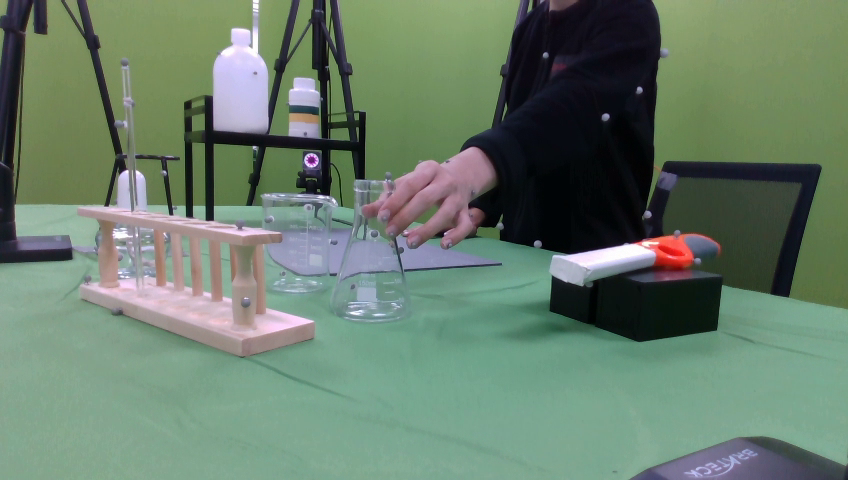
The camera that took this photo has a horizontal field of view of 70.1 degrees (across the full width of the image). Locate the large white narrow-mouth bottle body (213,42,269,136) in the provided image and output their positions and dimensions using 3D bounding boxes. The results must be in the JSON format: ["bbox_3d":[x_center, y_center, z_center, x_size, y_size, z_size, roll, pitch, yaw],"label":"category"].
[{"bbox_3d":[-0.352,-0.301,1.166,0.102,0.194,0.102,1,9,0],"label":"large white narrow-mouth bottle body"}]

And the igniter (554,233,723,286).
[{"bbox_3d":[0.214,0.015,0.570,0.278,0.025,0.057,-5,22,-44],"label":"igniter"}]

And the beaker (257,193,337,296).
[{"bbox_3d":[-0.130,0.004,0.628,0.084,0.100,0.074,5,8,15],"label":"beaker"}]

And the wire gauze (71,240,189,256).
[{"bbox_3d":[-0.399,0.013,0.820,0.126,0.011,0.121,-3,8,-37],"label":"wire gauze"}]

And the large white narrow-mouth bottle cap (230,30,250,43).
[{"bbox_3d":[-0.351,-0.386,1.152,0.038,0.024,0.037,1,8,0],"label":"large white narrow-mouth bottle cap"}]

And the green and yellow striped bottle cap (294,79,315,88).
[{"bbox_3d":[-0.248,-0.323,1.256,0.045,0.020,0.045,4,9,0],"label":"green and yellow striped bottle cap"}]

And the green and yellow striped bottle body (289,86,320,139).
[{"bbox_3d":[-0.250,-0.272,1.261,0.063,0.119,0.063,3,8,0],"label":"green and yellow striped bottle body"}]

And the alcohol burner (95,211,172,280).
[{"bbox_3d":[-0.320,-0.016,0.667,0.078,0.119,0.078,0,7,0],"label":"alcohol burner"}]

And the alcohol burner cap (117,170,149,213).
[{"bbox_3d":[-0.320,-0.052,0.661,0.034,0.048,0.034,-3,-1,0],"label":"alcohol burner cap"}]

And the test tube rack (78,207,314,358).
[{"bbox_3d":[-0.196,0.024,0.500,0.241,0.085,0.067,8,8,37],"label":"test tube rack"}]

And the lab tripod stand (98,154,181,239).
[{"bbox_3d":[-0.427,-0.066,0.942,0.148,0.131,0.148,1,6,0],"label":"lab tripod stand"}]

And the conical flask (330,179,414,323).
[{"bbox_3d":[-0.045,0.007,0.534,0.075,0.122,0.075,2,7,0],"label":"conical flask"}]

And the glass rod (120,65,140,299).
[{"bbox_3d":[-0.249,-0.047,0.513,0.008,0.199,0.008,-1,4,0],"label":"glass rod"}]
